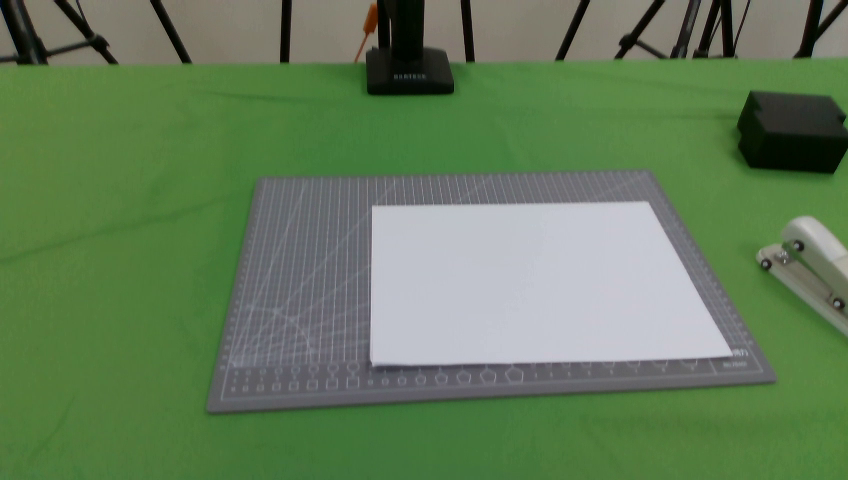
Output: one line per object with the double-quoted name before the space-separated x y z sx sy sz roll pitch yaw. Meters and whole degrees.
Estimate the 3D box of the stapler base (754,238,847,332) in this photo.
"stapler base" 0.369 0.037 0.560 0.041 0.024 0.129 -17 47 -18

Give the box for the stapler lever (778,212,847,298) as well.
"stapler lever" 0.370 0.020 0.543 0.027 0.040 0.116 -17 46 -18
